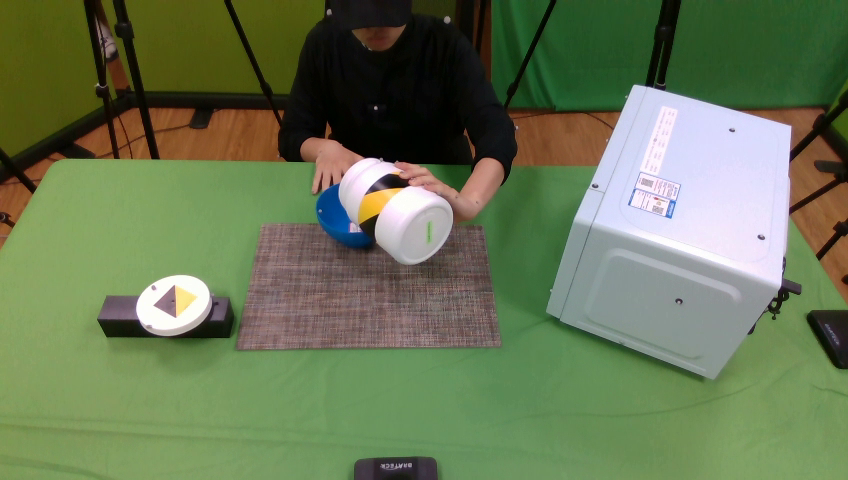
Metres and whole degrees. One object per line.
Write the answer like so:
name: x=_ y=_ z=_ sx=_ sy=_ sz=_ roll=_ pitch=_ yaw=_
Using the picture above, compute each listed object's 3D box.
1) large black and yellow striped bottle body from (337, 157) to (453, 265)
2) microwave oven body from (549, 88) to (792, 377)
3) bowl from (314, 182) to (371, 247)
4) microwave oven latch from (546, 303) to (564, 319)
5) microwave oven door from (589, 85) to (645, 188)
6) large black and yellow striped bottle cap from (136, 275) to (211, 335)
large black and yellow striped bottle body: x=-0.055 y=-0.056 z=1.048 sx=0.131 sy=0.131 sz=0.183 roll=-29 pitch=49 yaw=-28
microwave oven body: x=0.456 y=-0.028 z=1.088 sx=0.325 sy=0.261 sz=0.440 roll=20 pitch=47 yaw=16
bowl: x=-0.136 y=-0.039 z=1.180 sx=0.151 sy=0.077 sz=0.150 roll=3 pitch=46 yaw=-2
microwave oven latch: x=0.242 y=0.102 z=1.081 sx=0.030 sy=0.029 sz=0.079 roll=21 pitch=48 yaw=17
microwave oven door: x=0.341 y=-0.107 z=1.149 sx=0.039 sy=0.245 sz=0.354 roll=20 pitch=48 yaw=15
large black and yellow striped bottle cap: x=-0.412 y=0.105 z=0.999 sx=0.115 sy=0.019 sz=0.114 roll=3 pitch=46 yaw=-3
